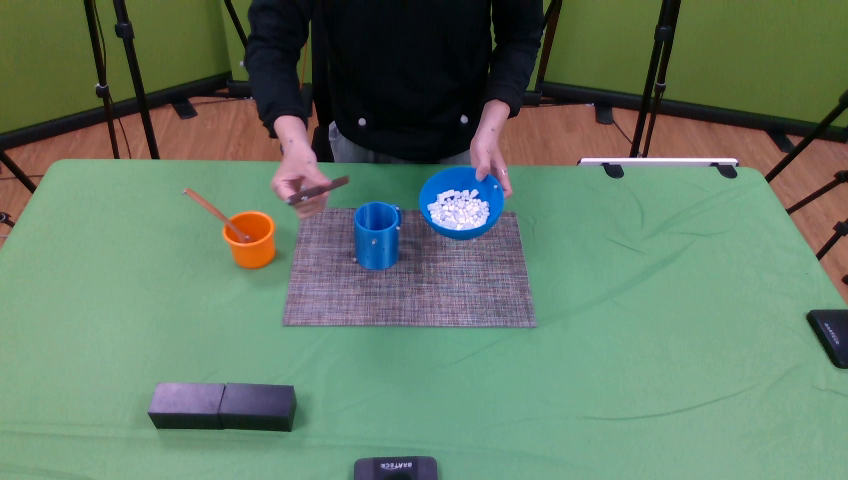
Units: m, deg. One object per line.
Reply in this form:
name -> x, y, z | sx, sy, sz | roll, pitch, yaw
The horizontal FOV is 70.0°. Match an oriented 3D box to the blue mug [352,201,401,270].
blue mug -> -0.082, -0.017, 1.144 | 0.082, 0.106, 0.116 | 30, 51, 22

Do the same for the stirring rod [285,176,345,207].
stirring rod -> -0.159, -0.075, 0.906 | 0.006, 0.014, 0.176 | 7, 18, 18

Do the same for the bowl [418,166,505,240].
bowl -> 0.067, -0.052, 1.084 | 0.151, 0.077, 0.150 | -3, 53, 4

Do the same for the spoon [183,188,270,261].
spoon -> -0.360, -0.029, 1.110 | 0.021, 0.194, 0.041 | -21, 31, 41
